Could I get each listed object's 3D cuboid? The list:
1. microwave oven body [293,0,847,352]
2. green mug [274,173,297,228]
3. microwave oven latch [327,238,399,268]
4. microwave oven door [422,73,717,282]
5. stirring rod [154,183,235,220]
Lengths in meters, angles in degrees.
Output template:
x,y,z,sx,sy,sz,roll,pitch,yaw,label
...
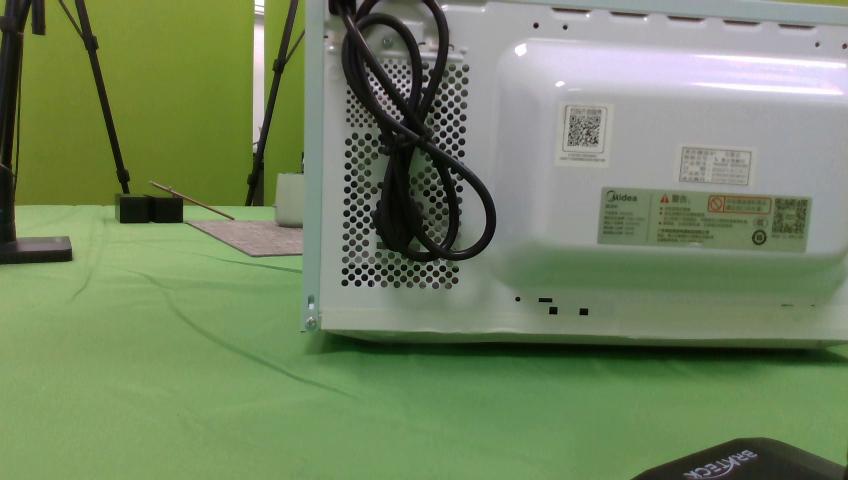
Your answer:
x,y,z,sx,sy,sz,roll,pitch,yaw,label
0.122,-0.055,0.550,0.442,0.260,0.325,3,7,-5,microwave oven body
-0.242,-0.081,1.221,0.092,0.105,0.126,8,9,39,green mug
-0.069,0.015,0.694,0.079,0.029,0.030,3,7,-3,microwave oven latch
0.170,-0.087,0.776,0.354,0.243,0.039,6,7,23,microwave oven door
-0.472,-0.079,1.252,0.177,0.006,0.014,27,4,-35,stirring rod
